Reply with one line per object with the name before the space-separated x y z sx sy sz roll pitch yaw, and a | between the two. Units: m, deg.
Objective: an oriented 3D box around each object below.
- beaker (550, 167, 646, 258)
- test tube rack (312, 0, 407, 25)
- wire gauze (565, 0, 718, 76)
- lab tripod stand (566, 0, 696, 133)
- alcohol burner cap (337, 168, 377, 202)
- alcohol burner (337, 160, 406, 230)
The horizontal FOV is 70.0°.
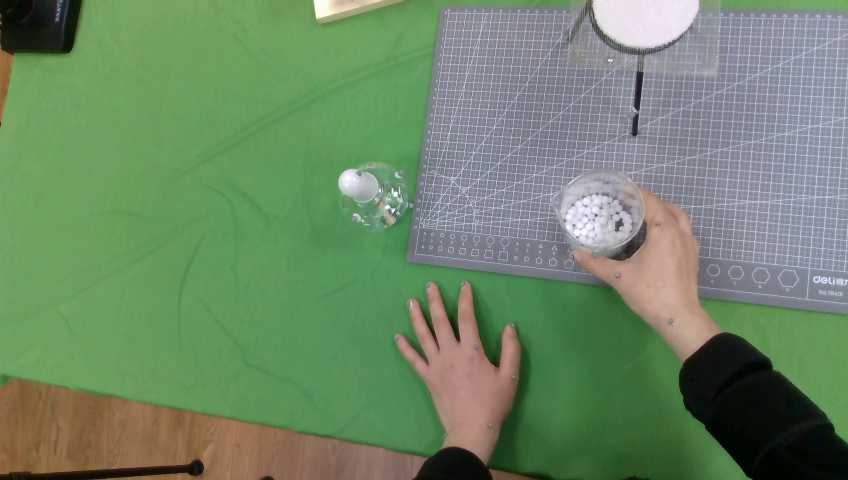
beaker | 0.165 -0.022 0.584 0.083 0.101 0.074 13 85 16
test tube rack | -0.027 -0.322 0.678 0.242 0.085 0.066 -11 80 12
wire gauze | 0.186 -0.201 0.513 0.124 0.011 0.121 6 86 15
lab tripod stand | 0.202 -0.192 0.579 0.148 0.132 0.148 -1 84 12
alcohol burner cap | -0.070 -0.057 0.604 0.034 0.048 0.034 -1 86 13
alcohol burner | -0.060 -0.051 0.639 0.078 0.120 0.077 -2 80 12
